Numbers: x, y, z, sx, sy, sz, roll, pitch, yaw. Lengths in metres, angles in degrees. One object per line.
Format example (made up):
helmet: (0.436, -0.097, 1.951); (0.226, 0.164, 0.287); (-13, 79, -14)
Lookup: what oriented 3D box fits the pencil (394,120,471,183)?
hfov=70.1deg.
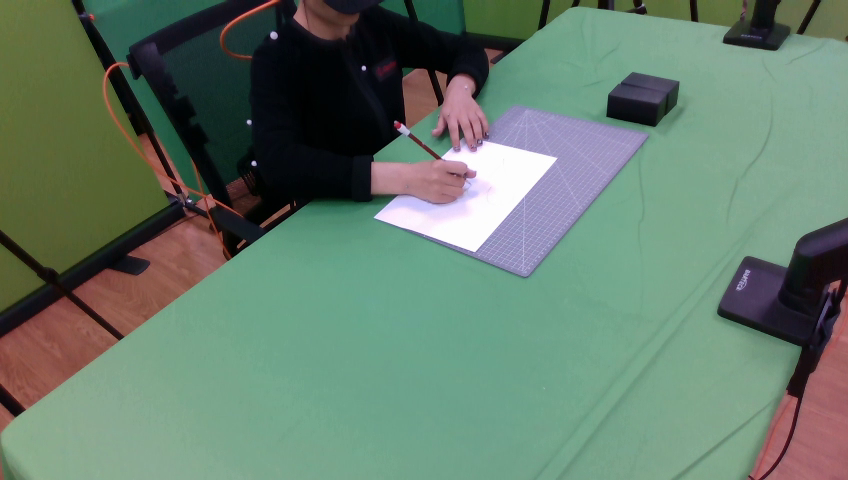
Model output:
pencil: (0.019, -0.147, 1.039); (0.012, 0.196, 0.012); (-29, 44, 33)
